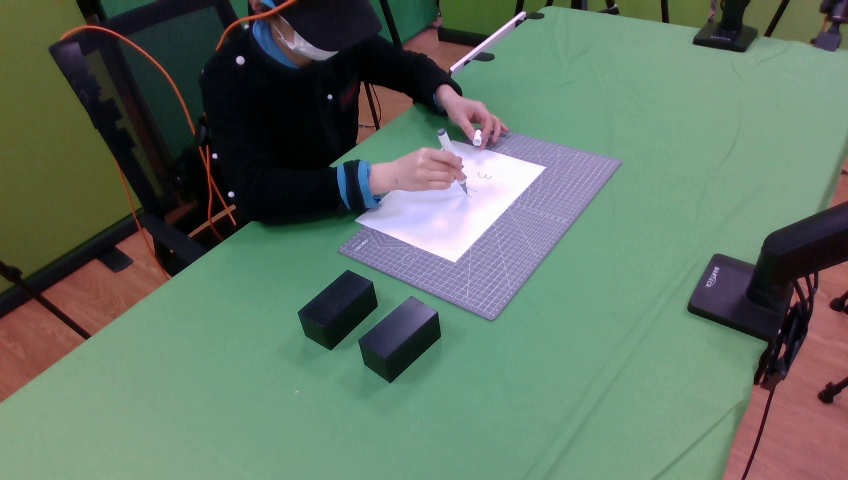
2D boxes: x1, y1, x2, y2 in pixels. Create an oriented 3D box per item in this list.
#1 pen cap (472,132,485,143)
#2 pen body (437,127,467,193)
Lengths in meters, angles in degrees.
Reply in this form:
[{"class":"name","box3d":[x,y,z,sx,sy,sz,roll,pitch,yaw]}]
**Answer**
[{"class":"pen cap","box3d":[0.104,-0.193,1.142,0.017,0.017,0.038,8,22,18]},{"class":"pen body","box3d":[0.049,-0.130,1.016,0.017,0.145,0.017,-14,46,15]}]
